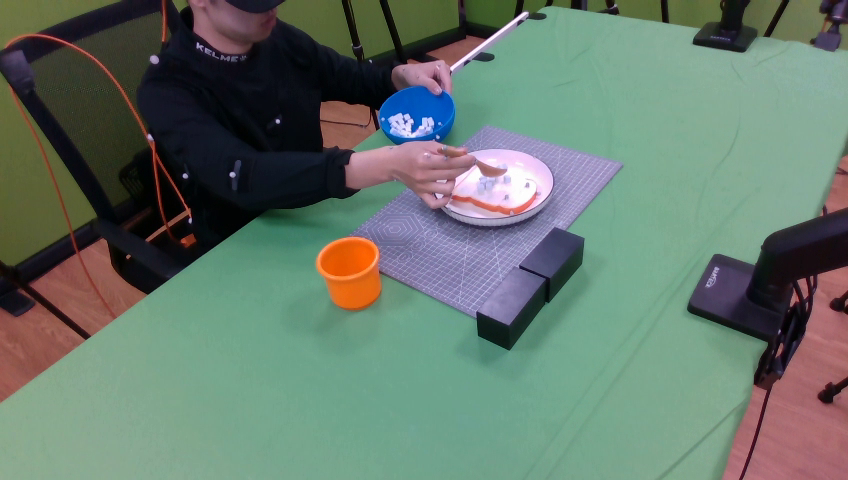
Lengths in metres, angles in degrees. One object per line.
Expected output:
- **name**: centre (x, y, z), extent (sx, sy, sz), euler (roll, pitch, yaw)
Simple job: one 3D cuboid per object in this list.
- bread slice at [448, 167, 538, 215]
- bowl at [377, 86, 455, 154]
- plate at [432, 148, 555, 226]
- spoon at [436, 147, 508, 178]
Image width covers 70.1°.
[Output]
- **bread slice**: centre (0.126, -0.085, 1.038), extent (0.133, 0.018, 0.107), euler (17, 46, 27)
- **bowl**: centre (-0.009, -0.221, 1.176), extent (0.151, 0.077, 0.150), euler (-5, 52, 7)
- **plate**: centre (0.119, -0.087, 1.037), extent (0.209, 0.038, 0.208), euler (-4, 40, 4)
- **spoon**: centre (0.074, -0.122, 0.939), extent (0.041, 0.195, 0.021), euler (-7, 78, 35)
